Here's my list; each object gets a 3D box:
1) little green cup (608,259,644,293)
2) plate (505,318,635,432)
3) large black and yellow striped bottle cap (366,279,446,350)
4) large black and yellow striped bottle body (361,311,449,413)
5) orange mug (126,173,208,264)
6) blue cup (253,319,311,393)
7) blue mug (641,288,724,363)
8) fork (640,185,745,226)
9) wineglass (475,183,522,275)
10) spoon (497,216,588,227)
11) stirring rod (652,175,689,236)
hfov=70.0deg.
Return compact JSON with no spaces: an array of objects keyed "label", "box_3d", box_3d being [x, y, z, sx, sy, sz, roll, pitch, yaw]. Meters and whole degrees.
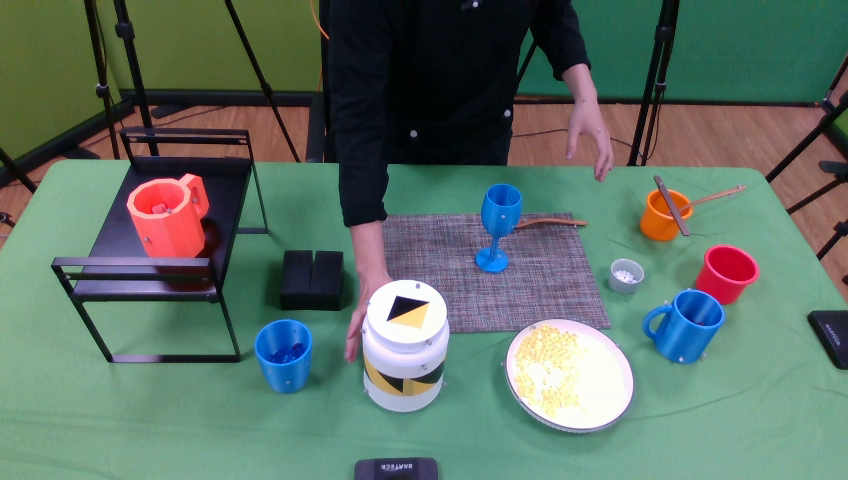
[{"label":"little green cup","box_3d":[0.379,0.070,1.147,0.061,0.039,0.061,3,45,-2]},{"label":"plate","box_3d":[0.235,0.221,0.991,0.209,0.038,0.208,2,45,-2]},{"label":"large black and yellow striped bottle cap","box_3d":[-0.025,0.104,0.864,0.115,0.019,0.114,3,48,-3]},{"label":"large black and yellow striped bottle body","box_3d":[-0.031,0.163,0.924,0.131,0.185,0.130,2,46,-2]},{"label":"orange mug","box_3d":[-0.371,-0.040,0.902,0.083,0.101,0.126,18,52,13]},{"label":"blue cup","box_3d":[-0.217,0.187,0.943,0.093,0.101,0.092,3,45,-3]},{"label":"blue mug","box_3d":[0.432,0.144,1.033,0.116,0.106,0.082,8,46,5]},{"label":"fork","box_3d":[0.534,-0.069,1.215,0.207,0.019,0.028,-26,27,33]},{"label":"wineglass","box_3d":[0.135,-0.020,1.116,0.074,0.173,0.073,2,46,-2]},{"label":"spoon","box_3d":[0.245,-0.039,1.247,0.194,0.022,0.041,-2,24,-6]},{"label":"stirring rod","box_3d":[0.491,-0.072,1.211,0.014,0.006,0.175,0,47,-6]}]
